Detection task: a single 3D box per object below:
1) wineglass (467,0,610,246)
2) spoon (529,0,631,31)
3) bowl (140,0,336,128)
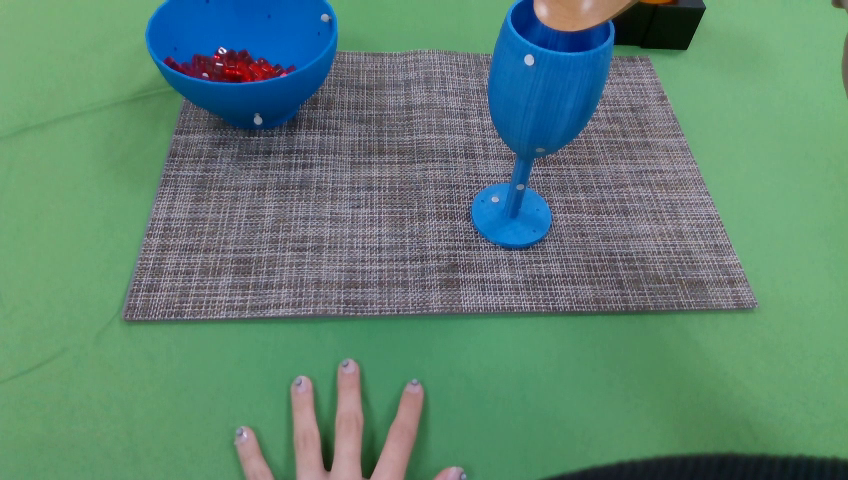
[{"bbox_3d":[0.071,-0.073,0.414,0.074,0.173,0.073,2,53,-2],"label":"wineglass"},{"bbox_3d":[0.139,-0.138,0.287,0.192,0.022,0.041,-4,73,40],"label":"spoon"},{"bbox_3d":[-0.149,-0.149,0.514,0.151,0.077,0.150,2,53,-3],"label":"bowl"}]
